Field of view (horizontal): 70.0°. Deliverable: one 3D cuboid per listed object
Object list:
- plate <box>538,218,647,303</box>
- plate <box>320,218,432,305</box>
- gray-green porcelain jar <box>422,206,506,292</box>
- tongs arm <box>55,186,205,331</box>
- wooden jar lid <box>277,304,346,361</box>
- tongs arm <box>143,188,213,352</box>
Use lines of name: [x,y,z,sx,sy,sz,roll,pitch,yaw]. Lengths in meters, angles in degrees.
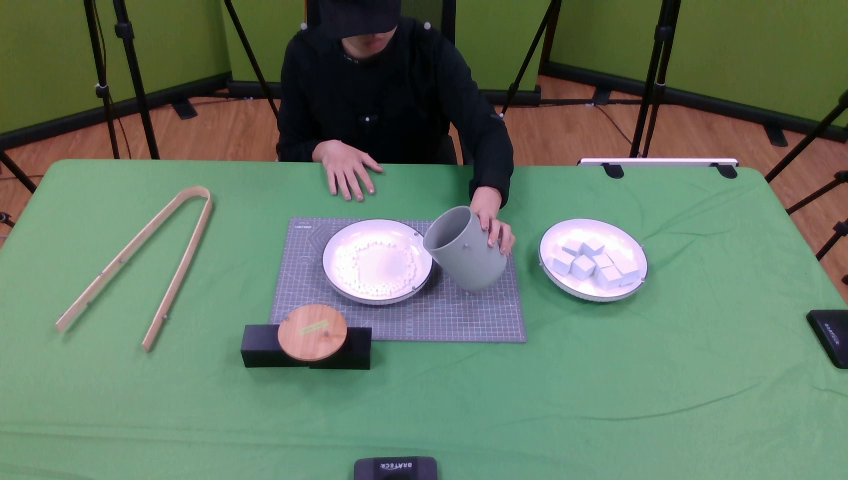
plate: [0.322,0.043,1.171,0.208,0.039,0.206,2,46,-2]
plate: [-0.089,0.044,1.134,0.209,0.038,0.208,3,46,-2]
gray-green porcelain jar: [0.075,0.020,1.057,0.106,0.127,0.105,-31,30,20]
tongs arm: [-0.530,0.022,1.125,0.051,0.026,0.383,15,46,8]
wooden jar lid: [-0.179,0.150,0.972,0.108,0.021,0.107,2,45,-2]
tongs arm: [-0.449,0.040,1.122,0.028,0.028,0.385,2,46,1]
